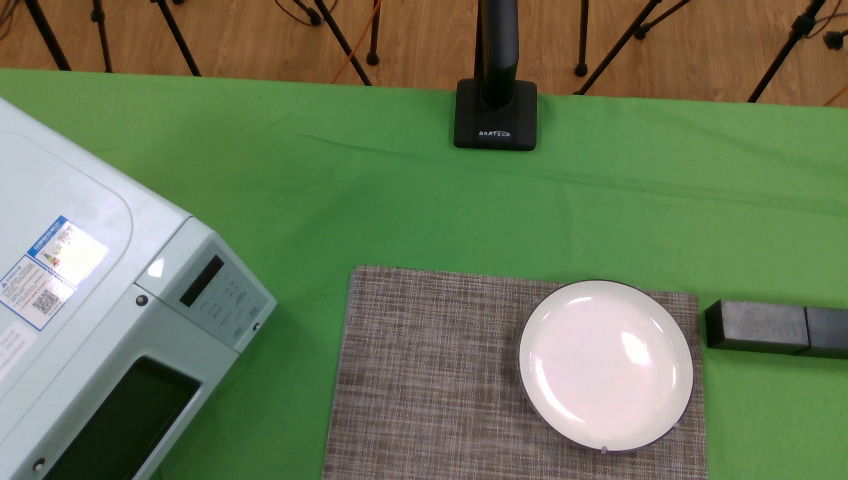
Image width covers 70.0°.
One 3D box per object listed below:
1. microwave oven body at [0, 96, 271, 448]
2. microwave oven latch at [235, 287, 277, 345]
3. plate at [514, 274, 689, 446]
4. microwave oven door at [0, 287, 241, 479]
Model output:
[{"bbox_3d":[-0.440,0.126,0.646,0.325,0.262,0.440,29,73,12],"label":"microwave oven body"},{"bbox_3d":[-0.218,0.091,0.758,0.030,0.030,0.079,31,73,13],"label":"microwave oven latch"},{"bbox_3d":[0.213,0.145,0.741,0.208,0.039,0.206,0,69,1],"label":"plate"},{"bbox_3d":[-0.338,0.227,0.598,0.039,0.245,0.354,29,72,13],"label":"microwave oven door"}]
